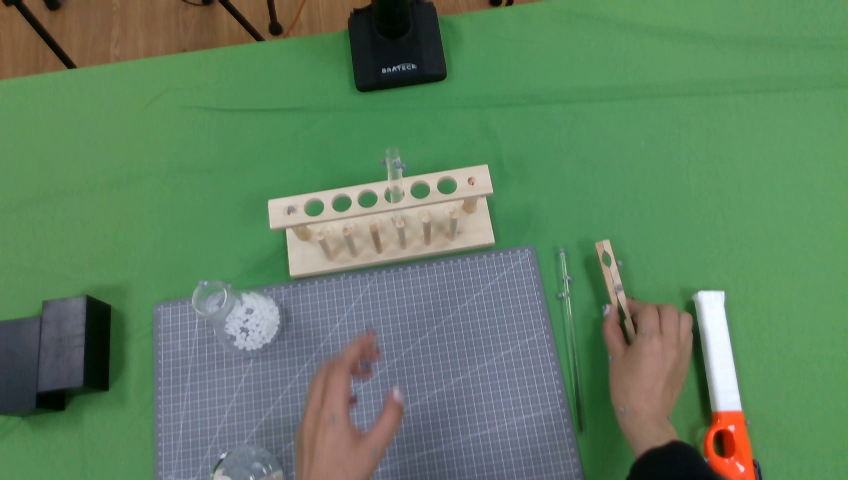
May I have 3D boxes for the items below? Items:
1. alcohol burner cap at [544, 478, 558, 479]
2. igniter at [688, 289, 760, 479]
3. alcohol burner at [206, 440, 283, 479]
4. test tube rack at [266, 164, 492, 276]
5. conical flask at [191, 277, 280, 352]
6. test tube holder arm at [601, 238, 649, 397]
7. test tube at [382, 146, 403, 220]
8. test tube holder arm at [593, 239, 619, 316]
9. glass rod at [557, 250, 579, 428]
[{"bbox_3d":[0.131,0.257,0.608,0.034,0.048,0.033,-1,71,4],"label":"alcohol burner cap"},{"bbox_3d":[0.313,0.186,0.634,0.057,0.025,0.274,2,72,-7],"label":"igniter"},{"bbox_3d":[-0.181,0.235,0.591,0.078,0.120,0.077,-1,70,5],"label":"alcohol burner"},{"bbox_3d":[-0.045,-0.020,0.688,0.242,0.086,0.066,-9,71,-1],"label":"test tube rack"},{"bbox_3d":[-0.203,0.074,0.641,0.075,0.122,0.075,-1,71,3],"label":"conical flask"},{"bbox_3d":[0.220,0.083,0.667,0.013,0.015,0.177,-16,75,13],"label":"test tube holder arm"},{"bbox_3d":[-0.032,-0.057,0.647,0.017,0.151,0.017,0,68,0],"label":"test tube"},{"bbox_3d":[0.206,0.042,0.679,0.010,0.015,0.087,-16,75,13],"label":"test tube holder arm"},{"bbox_3d":[0.161,0.107,0.676,0.008,0.008,0.198,-2,74,2],"label":"glass rod"}]
